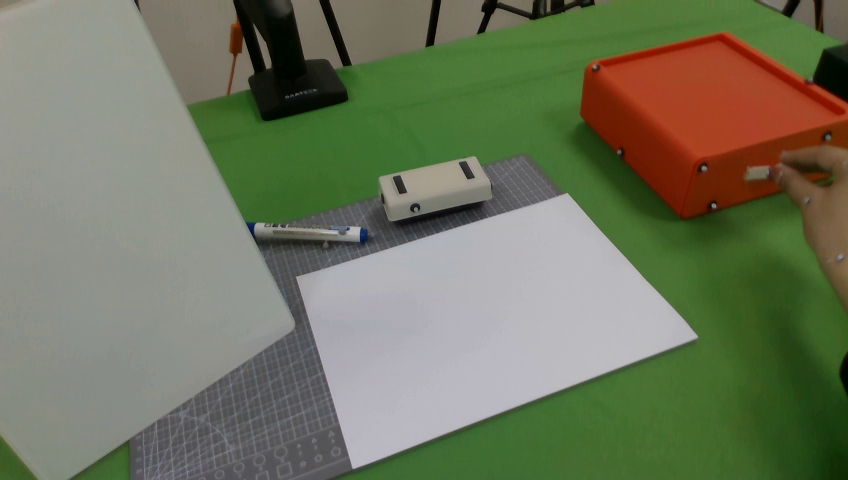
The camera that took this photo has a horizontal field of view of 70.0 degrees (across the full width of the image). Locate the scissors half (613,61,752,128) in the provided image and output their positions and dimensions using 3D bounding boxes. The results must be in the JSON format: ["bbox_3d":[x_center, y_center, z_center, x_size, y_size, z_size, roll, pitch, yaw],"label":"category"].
[{"bbox_3d":[0.321,-0.176,0.766,0.175,0.040,0.012,-18,40,35],"label":"scissors half"}]

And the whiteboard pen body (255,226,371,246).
[{"bbox_3d":[-0.125,-0.005,0.618,0.141,0.017,0.017,3,43,4],"label":"whiteboard pen body"}]

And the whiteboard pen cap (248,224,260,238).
[{"bbox_3d":[-0.184,-0.009,0.623,0.033,0.018,0.018,3,43,2],"label":"whiteboard pen cap"}]

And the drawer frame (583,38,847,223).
[{"bbox_3d":[0.318,-0.129,0.670,0.202,0.083,0.211,-16,43,-10],"label":"drawer frame"}]

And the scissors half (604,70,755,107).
[{"bbox_3d":[0.316,-0.184,0.759,0.174,0.040,0.012,-4,40,23],"label":"scissors half"}]

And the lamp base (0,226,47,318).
[{"bbox_3d":[-0.478,-0.016,0.552,0.178,0.182,0.159,10,44,20],"label":"lamp base"}]

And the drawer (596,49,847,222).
[{"bbox_3d":[0.319,-0.127,0.669,0.195,0.074,0.209,-15,42,-10],"label":"drawer"}]

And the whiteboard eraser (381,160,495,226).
[{"bbox_3d":[0.014,-0.047,0.637,0.113,0.042,0.055,-14,41,-9],"label":"whiteboard eraser"}]

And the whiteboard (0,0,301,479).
[{"bbox_3d":[-0.273,-0.009,0.474,0.217,0.308,0.142,-33,30,-26],"label":"whiteboard"}]
